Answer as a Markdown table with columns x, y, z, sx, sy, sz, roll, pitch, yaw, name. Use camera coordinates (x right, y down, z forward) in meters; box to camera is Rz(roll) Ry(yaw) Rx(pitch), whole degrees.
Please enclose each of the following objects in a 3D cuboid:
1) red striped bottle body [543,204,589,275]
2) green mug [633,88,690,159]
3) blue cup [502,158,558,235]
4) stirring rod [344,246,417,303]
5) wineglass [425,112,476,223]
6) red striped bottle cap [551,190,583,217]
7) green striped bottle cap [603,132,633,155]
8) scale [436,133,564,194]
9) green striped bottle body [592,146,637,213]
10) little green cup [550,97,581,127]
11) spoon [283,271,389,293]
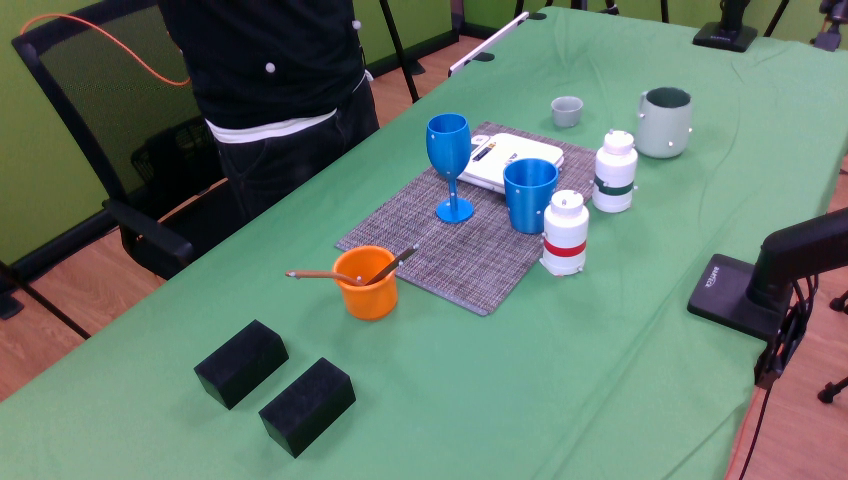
| x | y | z | sx | sy | sz | roll | pitch | yaw | name |
| --- | --- | --- | --- | --- | --- | --- | --- | --- | --- |
| 0.206 | -0.011 | 0.877 | 0.063 | 0.120 | 0.062 | -4 | 41 | 4 | red striped bottle body |
| 0.423 | -0.217 | 1.099 | 0.093 | 0.105 | 0.124 | -16 | 41 | -10 | green mug |
| 0.168 | -0.064 | 0.954 | 0.092 | 0.100 | 0.092 | -5 | 38 | 5 | blue cup |
| -0.062 | 0.050 | 0.819 | 0.014 | 0.175 | 0.006 | -1 | 63 | -40 | stirring rod |
| 0.043 | -0.114 | 0.972 | 0.074 | 0.173 | 0.073 | -4 | 41 | 4 | wineglass |
| 0.200 | -0.051 | 0.843 | 0.044 | 0.018 | 0.044 | -3 | 41 | 3 | red striped bottle cap |
| 0.302 | -0.149 | 0.939 | 0.044 | 0.020 | 0.044 | -3 | 40 | 3 | green striped bottle cap |
| 0.137 | -0.142 | 1.101 | 0.199 | 0.032 | 0.149 | 22 | 48 | 30 | scale |
| 0.307 | -0.108 | 0.976 | 0.063 | 0.120 | 0.063 | -4 | 41 | 4 | green striped bottle body |
| 0.284 | -0.255 | 1.213 | 0.061 | 0.039 | 0.061 | -4 | 41 | 4 | little green cup |
| -0.117 | 0.054 | 0.825 | 0.041 | 0.195 | 0.021 | 17 | 89 | 38 | spoon |
